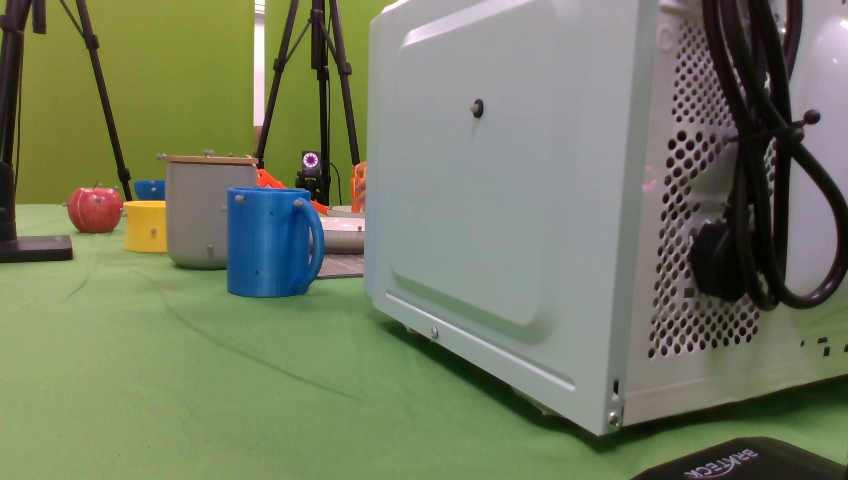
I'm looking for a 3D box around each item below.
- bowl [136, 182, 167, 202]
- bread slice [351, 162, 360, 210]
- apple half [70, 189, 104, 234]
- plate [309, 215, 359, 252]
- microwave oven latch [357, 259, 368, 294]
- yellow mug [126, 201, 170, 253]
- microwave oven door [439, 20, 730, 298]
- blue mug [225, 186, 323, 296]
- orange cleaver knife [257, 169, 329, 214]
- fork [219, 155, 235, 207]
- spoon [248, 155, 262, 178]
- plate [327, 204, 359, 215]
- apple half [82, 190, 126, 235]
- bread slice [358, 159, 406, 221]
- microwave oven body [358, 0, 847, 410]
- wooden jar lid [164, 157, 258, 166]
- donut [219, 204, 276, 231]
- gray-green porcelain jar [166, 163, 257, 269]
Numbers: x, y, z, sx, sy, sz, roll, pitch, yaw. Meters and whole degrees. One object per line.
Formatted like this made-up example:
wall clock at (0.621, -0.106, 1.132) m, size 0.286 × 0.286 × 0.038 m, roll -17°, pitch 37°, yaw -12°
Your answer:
bowl at (-0.497, -0.076, 1.221) m, size 0.151 × 0.077 × 0.151 m, roll 2°, pitch 8°, yaw 0°
bread slice at (-0.107, -0.112, 1.328) m, size 0.107 × 0.134 × 0.018 m, roll 0°, pitch -2°, yaw -27°
apple half at (-0.552, -0.048, 1.010) m, size 0.053 × 0.074 × 0.081 m, roll -1°, pitch 9°, yaw 26°
plate at (-0.130, -0.011, 0.945) m, size 0.208 × 0.039 × 0.207 m, roll 2°, pitch 8°, yaw 0°
microwave oven latch at (-0.019, 0.031, 0.530) m, size 0.079 × 0.029 × 0.030 m, roll -1°, pitch 7°, yaw -27°
yellow mug at (-0.361, -0.019, 0.866) m, size 0.130 × 0.064 × 0.100 m, roll 6°, pitch 9°, yaw 27°
microwave oven door at (0.181, -0.076, 0.618) m, size 0.358 × 0.243 × 0.039 m, roll -2°, pitch 8°, yaw -28°
blue mug at (-0.148, 0.000, 0.618) m, size 0.116 × 0.106 × 0.083 m, roll 7°, pitch 9°, yaw 33°
orange cleaver knife at (-0.286, -0.082, 1.300) m, size 0.212 × 0.077 × 0.012 m, roll 26°, pitch -6°, yaw -31°
fork at (-0.459, -0.134, 1.415) m, size 0.028 × 0.018 × 0.207 m, roll -1°, pitch -34°, yaw -24°
spoon at (-0.417, -0.150, 1.543) m, size 0.042 × 0.193 × 0.021 m, roll -5°, pitch -34°, yaw -33°
plate at (-0.102, -0.053, 1.299) m, size 0.209 × 0.038 × 0.209 m, roll 2°, pitch 7°, yaw 0°
apple half at (-0.516, -0.046, 0.994) m, size 0.032 × 0.081 × 0.081 m, roll 0°, pitch 6°, yaw 26°
bread slice at (-0.089, -0.106, 1.278) m, size 0.105 × 0.131 × 0.019 m, roll -1°, pitch 0°, yaw -23°
microwave oven body at (0.210, -0.051, 0.471) m, size 0.444 × 0.260 × 0.324 m, roll -1°, pitch 7°, yaw -28°
wooden jar lid at (-0.261, -0.093, 0.746) m, size 0.108 × 0.020 × 0.108 m, roll 0°, pitch 9°, yaw 0°
donut at (-0.316, -0.039, 1.083) m, size 0.099 × 0.048 × 0.099 m, roll 2°, pitch 7°, yaw 0°
gray-green porcelain jar at (-0.263, -0.031, 0.754) m, size 0.106 × 0.126 × 0.106 m, roll 2°, pitch 7°, yaw 0°
